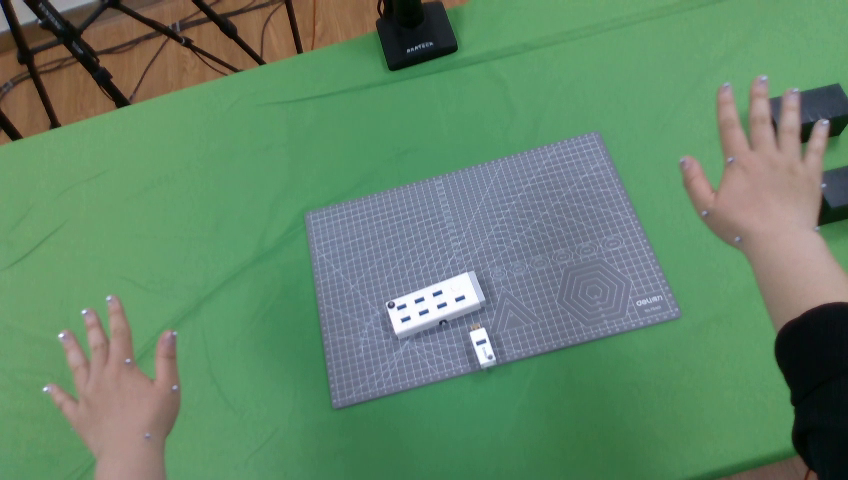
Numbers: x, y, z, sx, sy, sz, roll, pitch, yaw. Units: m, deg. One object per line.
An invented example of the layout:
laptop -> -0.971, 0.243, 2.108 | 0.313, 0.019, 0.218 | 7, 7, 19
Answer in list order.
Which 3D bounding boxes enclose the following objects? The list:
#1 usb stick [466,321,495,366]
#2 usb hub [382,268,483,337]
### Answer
usb stick -> 0.069, 0.126, 0.759 | 0.021, 0.027, 0.058 | -22, 59, 4
usb hub -> 0.011, 0.081, 0.792 | 0.125, 0.025, 0.049 | -21, 62, -1
